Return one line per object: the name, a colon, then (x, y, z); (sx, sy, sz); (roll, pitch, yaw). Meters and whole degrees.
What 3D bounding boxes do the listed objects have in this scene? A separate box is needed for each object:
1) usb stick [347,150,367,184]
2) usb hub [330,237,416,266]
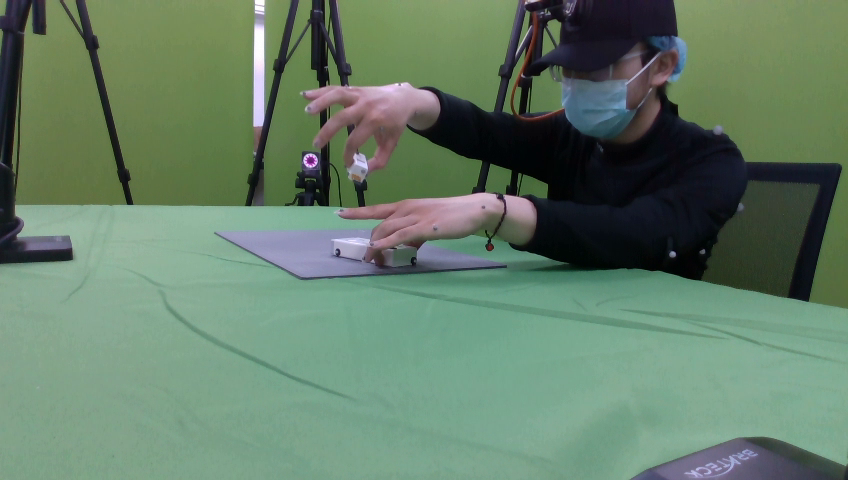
usb stick: (-0.095, -0.101, 0.851); (0.021, 0.027, 0.059); (22, 30, -22)
usb hub: (-0.072, 0.015, 0.835); (0.124, 0.025, 0.050); (8, 8, 41)
